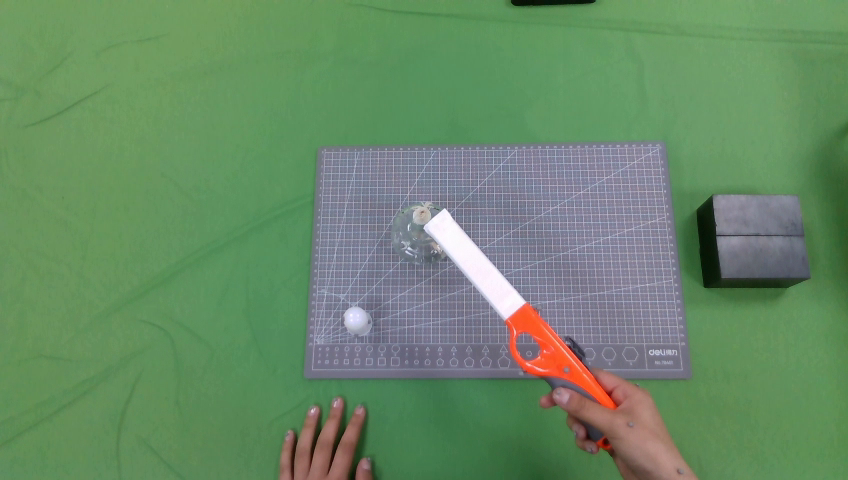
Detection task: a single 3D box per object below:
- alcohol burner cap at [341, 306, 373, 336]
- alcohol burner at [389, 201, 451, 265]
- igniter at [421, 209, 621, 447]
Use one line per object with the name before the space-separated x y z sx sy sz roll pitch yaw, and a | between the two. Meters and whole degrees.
alcohol burner cap | -0.080 0.093 0.708 0.034 0.048 0.033 -1 74 5
alcohol burner | -0.003 -0.013 0.700 0.078 0.120 0.077 0 72 0
igniter | 0.094 0.080 0.593 0.057 0.025 0.275 -40 76 1
